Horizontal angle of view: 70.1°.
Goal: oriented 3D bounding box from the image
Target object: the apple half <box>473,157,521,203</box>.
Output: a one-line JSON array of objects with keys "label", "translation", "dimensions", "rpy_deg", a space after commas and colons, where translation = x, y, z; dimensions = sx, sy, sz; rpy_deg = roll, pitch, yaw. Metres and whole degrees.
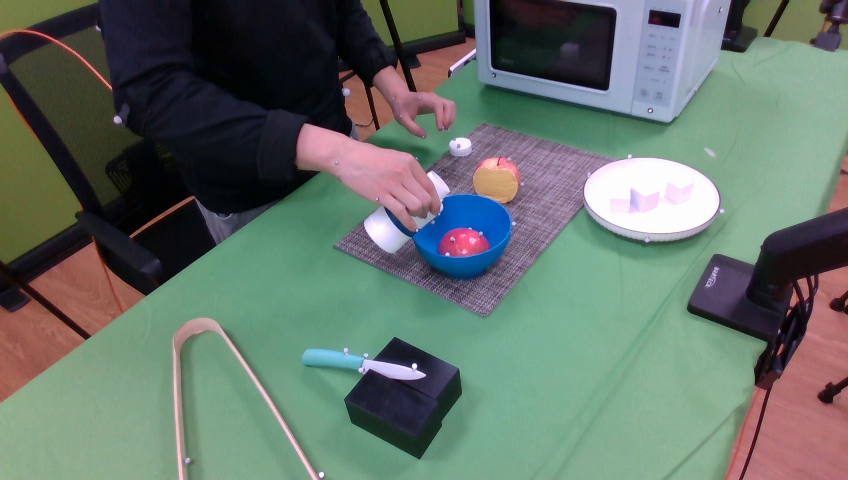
[{"label": "apple half", "translation": [0.128, -0.107, 1.030], "dimensions": [0.080, 0.075, 0.053], "rpy_deg": [4, 38, 19]}]

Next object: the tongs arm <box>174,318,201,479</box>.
[{"label": "tongs arm", "translation": [-0.272, 0.234, 0.723], "dimensions": [0.051, 0.026, 0.381], "rpy_deg": [-19, 40, -14]}]

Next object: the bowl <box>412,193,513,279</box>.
[{"label": "bowl", "translation": [0.058, 0.005, 0.905], "dimensions": [0.151, 0.077, 0.150], "rpy_deg": [-4, 40, 3]}]

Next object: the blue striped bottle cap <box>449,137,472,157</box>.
[{"label": "blue striped bottle cap", "translation": [0.071, -0.180, 1.168], "dimensions": [0.044, 0.021, 0.044], "rpy_deg": [-5, 42, 5]}]

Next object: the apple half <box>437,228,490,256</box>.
[{"label": "apple half", "translation": [0.056, 0.002, 0.901], "dimensions": [0.081, 0.033, 0.081], "rpy_deg": [-3, 40, 3]}]

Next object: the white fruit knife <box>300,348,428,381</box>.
[{"label": "white fruit knife", "translation": [-0.080, 0.154, 0.748], "dimensions": [0.206, 0.027, 0.016], "rpy_deg": [1, 20, 34]}]

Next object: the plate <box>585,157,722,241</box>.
[{"label": "plate", "translation": [0.367, -0.063, 0.979], "dimensions": [0.207, 0.039, 0.206], "rpy_deg": [-4, 40, 4]}]

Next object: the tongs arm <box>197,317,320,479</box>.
[{"label": "tongs arm", "translation": [-0.200, 0.207, 0.750], "dimensions": [0.028, 0.028, 0.384], "rpy_deg": [-31, 45, -22]}]

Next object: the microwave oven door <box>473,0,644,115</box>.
[{"label": "microwave oven door", "translation": [0.257, -0.396, 1.199], "dimensions": [0.353, 0.245, 0.039], "rpy_deg": [21, 48, 29]}]

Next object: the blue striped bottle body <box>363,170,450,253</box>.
[{"label": "blue striped bottle body", "translation": [-0.021, -0.042, 0.826], "dimensions": [0.120, 0.063, 0.062], "rpy_deg": [-41, 39, 15]}]

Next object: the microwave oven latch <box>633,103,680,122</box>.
[{"label": "microwave oven latch", "translation": [0.444, -0.249, 1.158], "dimensions": [0.078, 0.029, 0.030], "rpy_deg": [21, 49, 30]}]

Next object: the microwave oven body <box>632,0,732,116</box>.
[{"label": "microwave oven body", "translation": [0.377, -0.463, 1.267], "dimensions": [0.438, 0.261, 0.327], "rpy_deg": [21, 49, 30]}]
